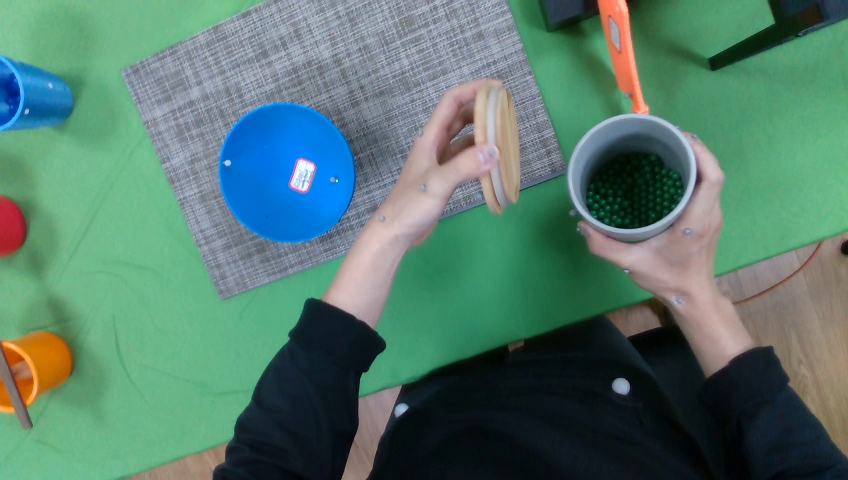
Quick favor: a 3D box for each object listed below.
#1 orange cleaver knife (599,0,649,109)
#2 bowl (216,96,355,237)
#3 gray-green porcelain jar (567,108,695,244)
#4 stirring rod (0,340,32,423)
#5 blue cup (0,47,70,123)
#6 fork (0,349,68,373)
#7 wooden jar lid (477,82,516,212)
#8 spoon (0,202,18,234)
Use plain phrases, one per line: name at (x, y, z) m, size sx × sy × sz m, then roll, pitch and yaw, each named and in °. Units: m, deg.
orange cleaver knife at (0.209, -0.175, 0.624) m, size 0.012 × 0.076 × 0.213 m, roll -24°, pitch 125°, yaw 7°
bowl at (-0.144, -0.082, 0.679) m, size 0.151 × 0.076 × 0.151 m, roll 1°, pitch 99°, yaw 7°
gray-green porcelain jar at (0.197, -0.053, 0.572) m, size 0.105 × 0.127 × 0.105 m, roll -3°, pitch 82°, yaw 21°
stirring rod at (-0.507, 0.138, 0.724) m, size 0.014 × 0.006 × 0.176 m, roll -16°, pitch 98°, yaw 6°
blue cup at (-0.465, -0.175, 0.694) m, size 0.092 × 0.100 × 0.093 m, roll 1°, pitch 100°, yaw 5°
fork at (-0.552, 0.163, 0.735) m, size 0.208 × 0.018 × 0.028 m, roll -7°, pitch 111°, yaw -36°
wooden jar lid at (0.063, -0.078, 0.509) m, size 0.020 × 0.108 × 0.108 m, roll -4°, pitch 98°, yaw 15°
spoon at (-0.595, -0.011, 0.715) m, size 0.194 × 0.021 × 0.041 m, roll -15°, pitch 97°, yaw -35°
